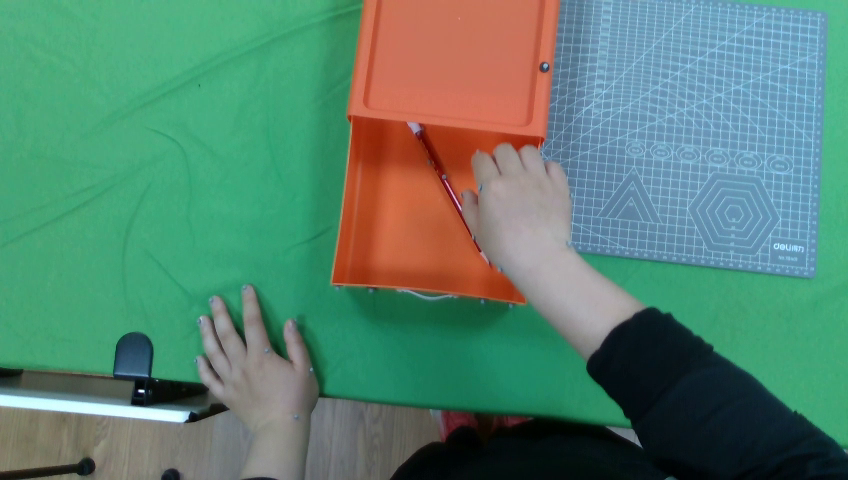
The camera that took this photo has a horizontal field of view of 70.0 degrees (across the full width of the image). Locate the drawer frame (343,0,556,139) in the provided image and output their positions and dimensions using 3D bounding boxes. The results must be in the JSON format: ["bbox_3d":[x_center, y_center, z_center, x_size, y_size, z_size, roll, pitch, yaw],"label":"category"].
[{"bbox_3d":[0.031,-0.211,0.639,0.201,0.083,0.213,6,83,3],"label":"drawer frame"}]

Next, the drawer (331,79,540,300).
[{"bbox_3d":[0.015,-0.048,0.626,0.194,0.073,0.211,5,86,3],"label":"drawer"}]

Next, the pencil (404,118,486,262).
[{"bbox_3d":[0.022,-0.062,0.653,0.012,0.012,0.193,-28,86,-1],"label":"pencil"}]
